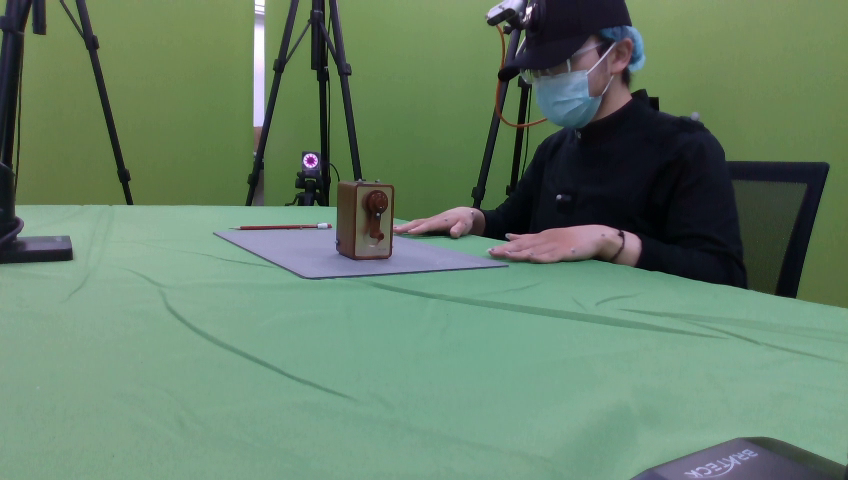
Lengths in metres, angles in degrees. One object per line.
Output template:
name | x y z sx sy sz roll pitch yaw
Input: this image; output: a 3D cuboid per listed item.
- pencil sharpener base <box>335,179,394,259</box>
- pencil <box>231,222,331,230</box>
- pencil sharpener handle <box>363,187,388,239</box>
pencil sharpener base | -0.084 -0.030 0.855 0.061 0.107 0.076 -1 8 -28
pencil | -0.272 -0.025 1.165 0.195 0.012 0.012 -3 9 -29
pencil sharpener handle | -0.061 -0.035 0.809 0.036 0.067 0.030 4 6 -29
